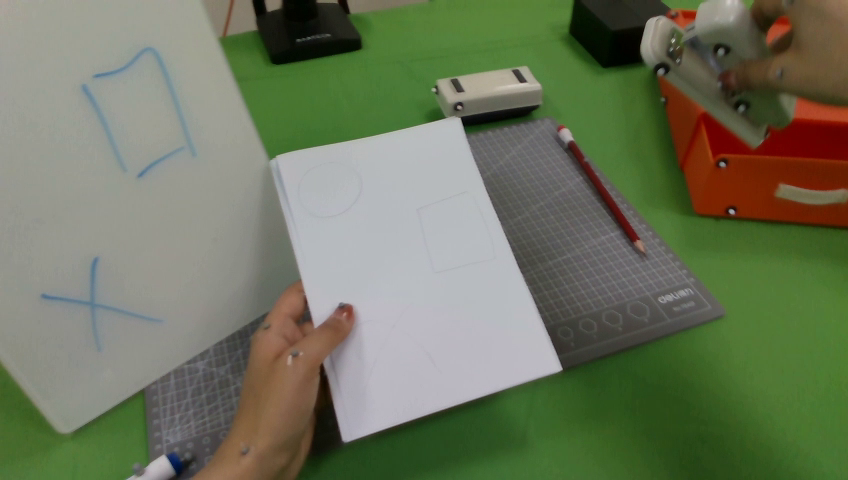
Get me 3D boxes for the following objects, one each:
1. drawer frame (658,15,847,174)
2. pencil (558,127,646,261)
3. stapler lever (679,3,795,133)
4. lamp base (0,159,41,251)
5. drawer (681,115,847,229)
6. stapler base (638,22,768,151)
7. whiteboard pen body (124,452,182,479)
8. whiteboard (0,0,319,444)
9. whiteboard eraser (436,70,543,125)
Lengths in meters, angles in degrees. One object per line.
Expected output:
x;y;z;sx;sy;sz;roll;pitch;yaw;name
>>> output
0.369;-0.155;0.653;0.201;0.083;0.211;4;45;5;drawer frame
0.173;-0.051;0.599;0.012;0.012;0.192;-11;49;-10;pencil
0.224;-0.117;0.415;0.119;0.040;0.026;28;72;-24;stapler lever
-0.453;-0.079;0.505;0.178;0.182;0.159;14;47;16;lamp base
0.361;-0.108;0.611;0.194;0.074;0.210;5;45;5;drawer
0.210;-0.113;0.437;0.131;0.024;0.041;27;72;-23;stapler base
-0.216;0.177;0.369;0.141;0.017;0.017;-30;53;-28;whiteboard pen body
-0.245;-0.056;0.439;0.217;0.308;0.142;-32;35;-27;whiteboard
0.074;-0.160;0.685;0.113;0.042;0.055;-10;47;-10;whiteboard eraser
